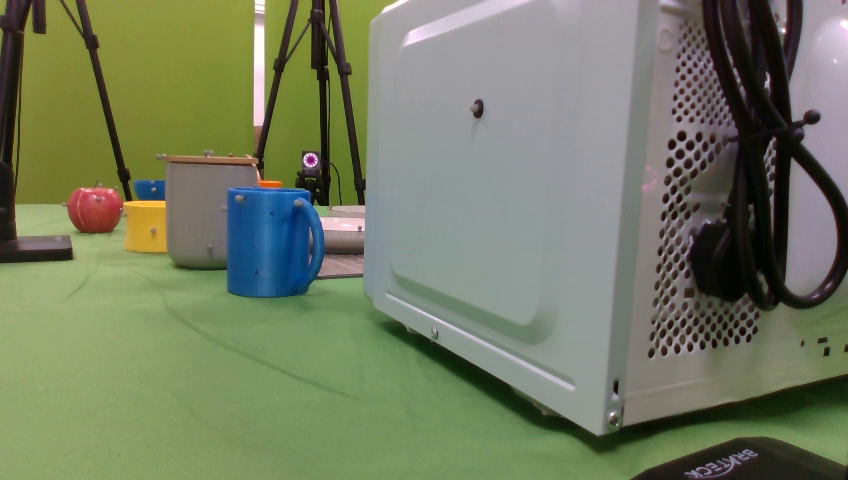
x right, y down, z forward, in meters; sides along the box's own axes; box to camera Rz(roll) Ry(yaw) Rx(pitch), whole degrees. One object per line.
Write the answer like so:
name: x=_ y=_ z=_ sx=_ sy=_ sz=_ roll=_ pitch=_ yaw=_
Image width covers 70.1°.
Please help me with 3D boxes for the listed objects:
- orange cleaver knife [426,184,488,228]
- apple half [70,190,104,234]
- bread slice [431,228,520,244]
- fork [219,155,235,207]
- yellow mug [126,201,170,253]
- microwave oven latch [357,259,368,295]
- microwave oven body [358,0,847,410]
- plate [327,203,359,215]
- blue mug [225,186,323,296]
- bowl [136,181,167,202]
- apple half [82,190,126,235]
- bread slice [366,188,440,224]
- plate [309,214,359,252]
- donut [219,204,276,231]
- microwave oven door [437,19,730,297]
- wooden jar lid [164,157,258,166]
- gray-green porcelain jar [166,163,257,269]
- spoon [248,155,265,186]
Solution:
orange cleaver knife: x=0.064 y=-0.062 z=1.109 sx=0.012 sy=0.077 sz=0.212 roll=4 pitch=5 yaw=33
apple half: x=-0.552 y=-0.047 z=1.010 sx=0.053 sy=0.074 sz=0.081 roll=0 pitch=10 yaw=26
bread slice: x=0.092 y=-0.007 z=1.018 sx=0.131 sy=0.019 sz=0.105 roll=6 pitch=7 yaw=43
fork: x=-0.459 y=-0.134 z=1.415 sx=0.028 sy=0.018 sz=0.207 roll=-1 pitch=-34 yaw=-24
yellow mug: x=-0.361 y=-0.019 z=0.866 sx=0.130 sy=0.064 sz=0.100 roll=6 pitch=9 yaw=27
microwave oven latch: x=-0.019 y=0.031 z=0.529 sx=0.079 sy=0.029 sz=0.030 roll=-1 pitch=7 yaw=-27
microwave oven body: x=0.210 y=-0.051 z=0.471 sx=0.444 sy=0.260 sz=0.324 roll=-1 pitch=7 yaw=-28
plate: x=-0.102 y=-0.053 z=1.299 sx=0.209 sy=0.038 sz=0.209 roll=2 pitch=8 yaw=0
blue mug: x=-0.148 y=0.000 z=0.618 sx=0.116 sy=0.106 sz=0.083 roll=7 pitch=9 yaw=33
bowl: x=-0.497 y=-0.076 z=1.221 sx=0.151 sy=0.077 sz=0.151 roll=2 pitch=8 yaw=0
apple half: x=-0.516 y=-0.046 z=0.994 sx=0.032 sy=0.081 sz=0.081 roll=0 pitch=6 yaw=26
bread slice: x=-0.046 y=-0.064 z=1.138 sx=0.107 sy=0.018 sz=0.134 roll=-8 pitch=-16 yaw=-40
plate: x=-0.130 y=-0.011 z=0.945 sx=0.208 sy=0.039 sz=0.207 roll=2 pitch=8 yaw=0
donut: x=-0.316 y=-0.039 z=1.083 sx=0.099 sy=0.048 sz=0.099 roll=2 pitch=7 yaw=0
microwave oven door: x=0.181 y=-0.076 z=0.618 sx=0.358 sy=0.243 sz=0.039 roll=-2 pitch=9 yaw=-28
wooden jar lid: x=-0.261 y=-0.093 z=0.746 sx=0.108 sy=0.020 sz=0.108 roll=0 pitch=9 yaw=0
gray-green porcelain jar: x=-0.263 y=-0.031 z=0.754 sx=0.106 sy=0.126 sz=0.106 roll=2 pitch=7 yaw=0
spoon: x=-0.417 y=-0.150 z=1.543 sx=0.042 sy=0.193 sz=0.021 roll=-3 pitch=-36 yaw=-35
